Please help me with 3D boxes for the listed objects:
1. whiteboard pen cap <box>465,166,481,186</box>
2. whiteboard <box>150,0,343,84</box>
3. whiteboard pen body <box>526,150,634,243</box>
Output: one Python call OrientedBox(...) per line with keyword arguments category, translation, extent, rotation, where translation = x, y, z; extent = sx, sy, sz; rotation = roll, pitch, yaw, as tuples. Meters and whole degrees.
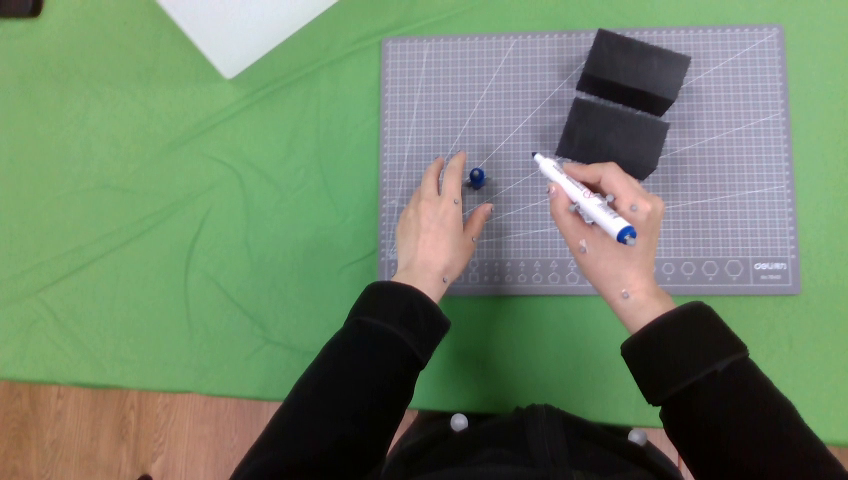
OrientedBox(category="whiteboard pen cap", translation=(0.054, -0.070, 0.664), extent=(0.018, 0.033, 0.018), rotation=(0, 84, 4))
OrientedBox(category="whiteboard", translation=(-0.227, -0.358, 0.618), extent=(0.217, 0.308, 0.142), rotation=(-36, 61, 0))
OrientedBox(category="whiteboard pen body", translation=(0.121, -0.041, 0.494), extent=(0.017, 0.017, 0.139), rotation=(-36, 44, 0))
